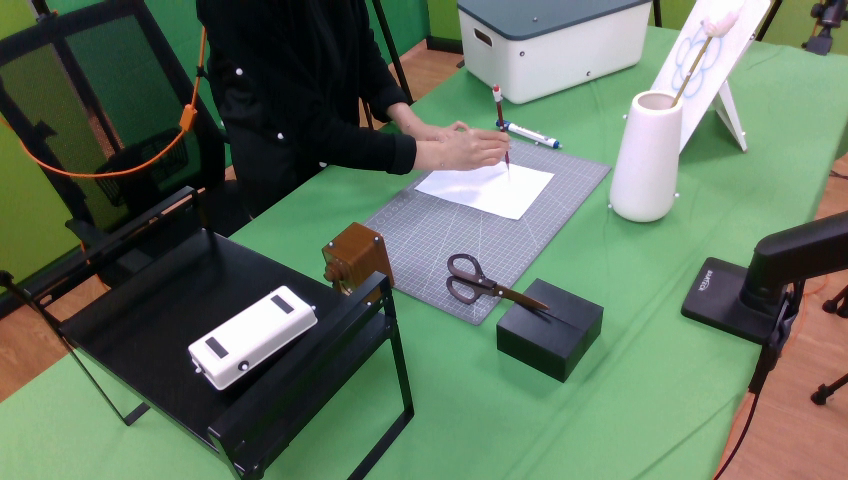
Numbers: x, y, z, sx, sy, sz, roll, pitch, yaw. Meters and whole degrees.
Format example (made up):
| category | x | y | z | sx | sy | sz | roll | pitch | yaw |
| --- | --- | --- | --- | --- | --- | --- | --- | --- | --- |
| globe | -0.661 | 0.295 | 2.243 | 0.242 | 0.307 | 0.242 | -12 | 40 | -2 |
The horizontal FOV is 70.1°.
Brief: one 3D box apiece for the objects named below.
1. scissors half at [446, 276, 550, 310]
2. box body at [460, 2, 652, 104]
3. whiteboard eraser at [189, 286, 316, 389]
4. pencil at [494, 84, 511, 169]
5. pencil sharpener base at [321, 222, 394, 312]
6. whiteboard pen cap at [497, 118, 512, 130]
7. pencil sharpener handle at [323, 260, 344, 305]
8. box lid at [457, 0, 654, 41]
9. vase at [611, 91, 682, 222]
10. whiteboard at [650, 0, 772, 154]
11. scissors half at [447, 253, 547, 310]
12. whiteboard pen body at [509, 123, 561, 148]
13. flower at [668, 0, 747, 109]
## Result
| category | x | y | z | sx | sy | sz | roll | pitch | yaw |
| --- | --- | --- | --- | --- | --- | --- | --- | --- | --- |
| scissors half | 0.098 | 0.077 | 0.827 | 0.174 | 0.040 | 0.013 | 6 | 14 | 44 |
| box body | 0.291 | -0.465 | 1.371 | 0.365 | 0.161 | 0.252 | -22 | 42 | -16 |
| whiteboard eraser | -0.166 | 0.096 | 0.593 | 0.113 | 0.042 | 0.055 | -36 | 47 | -29 |
| pencil | 0.137 | -0.189 | 1.041 | 0.012 | 0.195 | 0.012 | -7 | 52 | 10 |
| pencil sharpener base | -0.096 | 0.041 | 0.873 | 0.061 | 0.107 | 0.077 | 25 | 54 | 32 |
| whiteboard pen cap | 0.165 | -0.235 | 1.227 | 0.033 | 0.018 | 0.018 | 31 | 53 | 31 |
| pencil sharpener handle | -0.131 | 0.062 | 0.839 | 0.035 | 0.068 | 0.031 | 29 | 55 | 28 |
| box lid | 0.285 | -0.522 | 1.323 | 0.373 | 0.015 | 0.261 | -22 | 43 | -16 |
| vase | 0.348 | -0.125 | 0.935 | 0.098 | 0.201 | 0.097 | -3 | 40 | 3 |
| whiteboard | 0.543 | -0.298 | 1.076 | 0.144 | 0.305 | 0.216 | 12 | 40 | -7 |
| scissors half | 0.098 | 0.058 | 0.821 | 0.173 | 0.040 | 0.013 | 27 | 33 | 36 |
| whiteboard pen body | 0.209 | -0.211 | 1.196 | 0.139 | 0.017 | 0.017 | 30 | 52 | 33 |
| flower | 0.354 | -0.187 | 0.879 | 0.038 | 0.362 | 0.044 | 30 | 48 | 14 |
